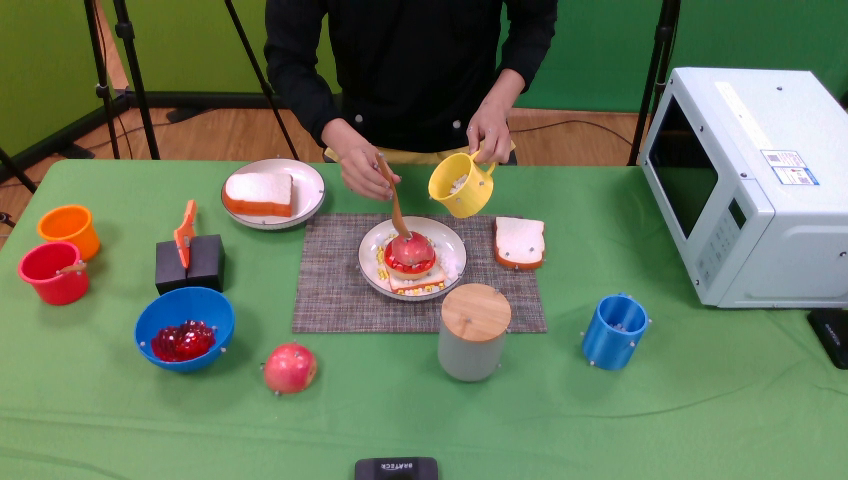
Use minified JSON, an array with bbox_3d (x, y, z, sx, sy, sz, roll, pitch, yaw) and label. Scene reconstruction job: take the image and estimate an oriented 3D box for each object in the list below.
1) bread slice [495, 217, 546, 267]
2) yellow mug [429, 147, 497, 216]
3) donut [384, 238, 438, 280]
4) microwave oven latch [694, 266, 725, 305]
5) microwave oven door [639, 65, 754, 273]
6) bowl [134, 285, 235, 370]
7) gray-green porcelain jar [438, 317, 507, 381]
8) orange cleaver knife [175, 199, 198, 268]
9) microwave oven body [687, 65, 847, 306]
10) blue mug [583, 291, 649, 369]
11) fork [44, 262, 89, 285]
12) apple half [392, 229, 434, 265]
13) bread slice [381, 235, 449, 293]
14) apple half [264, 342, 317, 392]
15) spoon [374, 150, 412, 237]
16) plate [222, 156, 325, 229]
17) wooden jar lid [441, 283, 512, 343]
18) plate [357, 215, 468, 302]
[{"bbox_3d":[0.194,0.002,1.205,0.105,0.019,0.131,5,44,3],"label":"bread slice"},{"bbox_3d":[0.077,-0.112,1.078,0.131,0.064,0.099,-46,38,9],"label":"yellow mug"},{"bbox_3d":[-0.024,0.029,1.110,0.099,0.048,0.098,2,46,-2],"label":"donut"},{"bbox_3d":[0.523,0.082,1.115,0.030,0.029,0.078,3,46,0],"label":"microwave oven latch"},{"bbox_3d":[0.522,-0.147,1.193,0.039,0.245,0.353,0,47,-3],"label":"microwave oven door"},{"bbox_3d":[-0.377,0.155,0.981,0.151,0.077,0.150,2,46,-2],"label":"bowl"},{"bbox_3d":[0.076,0.158,0.977,0.106,0.127,0.105,2,47,-2],"label":"gray-green porcelain jar"},{"bbox_3d":[-0.438,-0.017,1.138,0.012,0.077,0.210,-14,27,-7],"label":"orange cleaver knife"},{"bbox_3d":[0.669,-0.111,1.176,0.326,0.261,0.439,0,46,-3],"label":"microwave oven body"},{"bbox_3d":[0.324,0.142,1.023,0.082,0.106,0.116,15,47,11],"label":"blue mug"},{"bbox_3d":[-0.598,0.054,1.014,0.207,0.019,0.028,-15,29,45],"label":"fork"},{"bbox_3d":[-0.020,0.004,1.083,0.081,0.033,0.081,6,49,-7],"label":"apple half"},{"bbox_3d":[-0.026,0.040,1.141,0.107,0.018,0.133,-13,49,-15],"label":"bread slice"},{"bbox_3d":[-0.214,0.198,0.970,0.074,0.053,0.080,19,48,10],"label":"apple half"},{"bbox_3d":[-0.052,-0.071,0.979,0.021,0.195,0.041,-39,49,-23],"label":"spoon"},{"bbox_3d":[-0.308,-0.095,1.251,0.209,0.038,0.208,2,47,-2],"label":"plate"},{"bbox_3d":[0.080,0.114,0.931,0.108,0.021,0.107,1,49,0],"label":"wooden jar lid"},{"bbox_3d":[-0.022,0.037,1.141,0.208,0.039,0.206,2,46,-2],"label":"plate"}]
